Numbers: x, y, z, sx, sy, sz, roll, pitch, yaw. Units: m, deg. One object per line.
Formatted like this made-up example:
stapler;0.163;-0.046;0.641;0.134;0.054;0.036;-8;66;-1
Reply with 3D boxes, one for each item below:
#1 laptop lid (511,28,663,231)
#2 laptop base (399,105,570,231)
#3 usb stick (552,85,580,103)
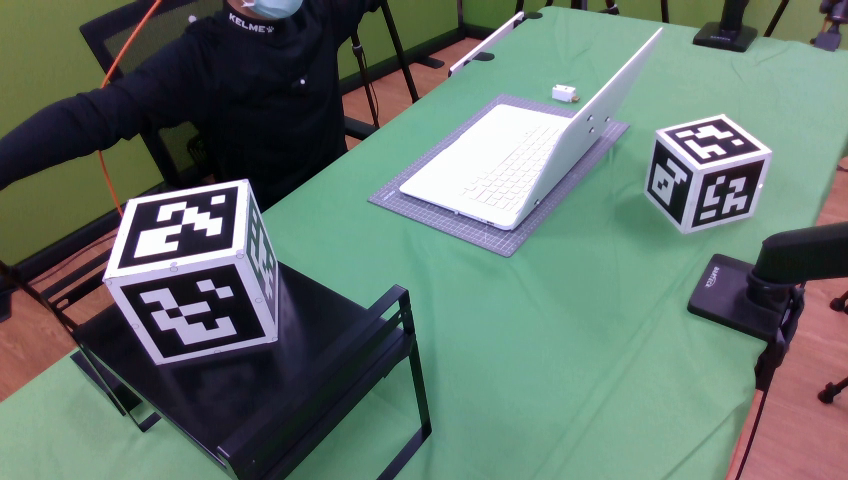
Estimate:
laptop lid;0.265;-0.179;0.972;0.013;0.242;0.357;36;53;14
laptop base;0.149;-0.147;1.123;0.233;0.023;0.355;20;47;32
usb stick;0.303;-0.308;1.282;0.059;0.027;0.021;25;46;29
